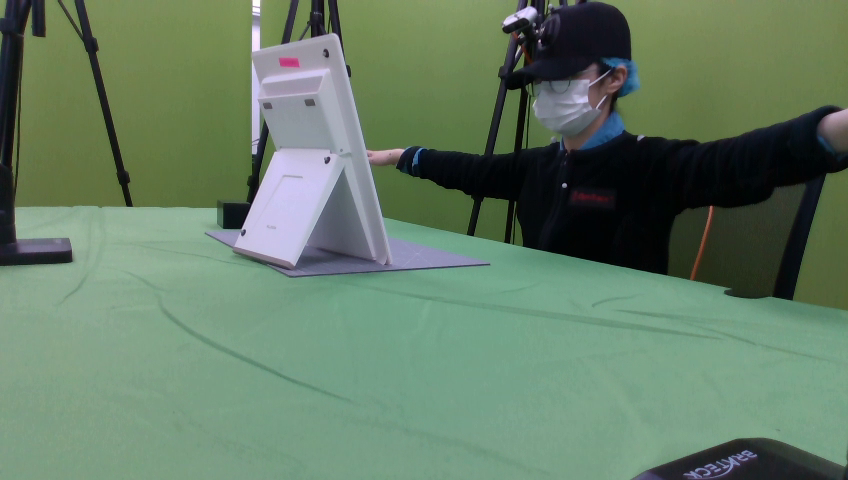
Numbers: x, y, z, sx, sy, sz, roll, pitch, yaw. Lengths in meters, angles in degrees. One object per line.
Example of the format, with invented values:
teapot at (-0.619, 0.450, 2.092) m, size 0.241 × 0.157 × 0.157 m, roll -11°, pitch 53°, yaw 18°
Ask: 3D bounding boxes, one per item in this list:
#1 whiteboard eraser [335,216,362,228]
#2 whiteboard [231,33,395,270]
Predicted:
whiteboard eraser at (-0.159, -0.039, 1.277) m, size 0.041 × 0.019 × 0.101 m, roll 3°, pitch 7°, yaw 6°
whiteboard at (-0.193, -0.094, 0.805) m, size 0.144 × 0.305 × 0.216 m, roll -28°, pitch 25°, yaw -35°
